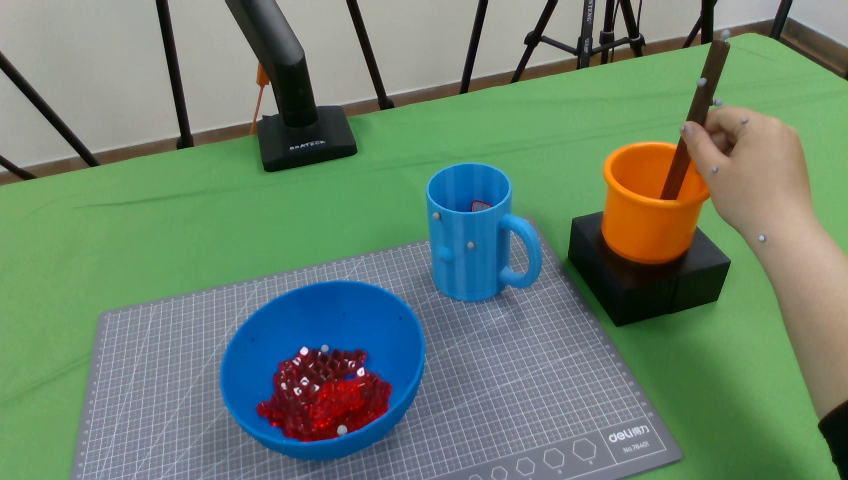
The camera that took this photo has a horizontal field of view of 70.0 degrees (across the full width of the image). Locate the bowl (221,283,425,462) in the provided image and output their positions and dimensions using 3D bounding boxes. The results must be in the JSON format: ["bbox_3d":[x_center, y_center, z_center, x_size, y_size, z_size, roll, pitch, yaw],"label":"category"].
[{"bbox_3d":[-0.071,0.113,0.470,0.151,0.077,0.150,-2,41,3],"label":"bowl"}]

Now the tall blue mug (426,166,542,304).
[{"bbox_3d":[0.058,-0.001,0.563,0.107,0.109,0.077,5,42,12],"label":"tall blue mug"}]

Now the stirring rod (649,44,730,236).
[{"bbox_3d":[0.213,-0.074,0.494,0.006,0.177,0.014,-32,51,-33],"label":"stirring rod"}]
